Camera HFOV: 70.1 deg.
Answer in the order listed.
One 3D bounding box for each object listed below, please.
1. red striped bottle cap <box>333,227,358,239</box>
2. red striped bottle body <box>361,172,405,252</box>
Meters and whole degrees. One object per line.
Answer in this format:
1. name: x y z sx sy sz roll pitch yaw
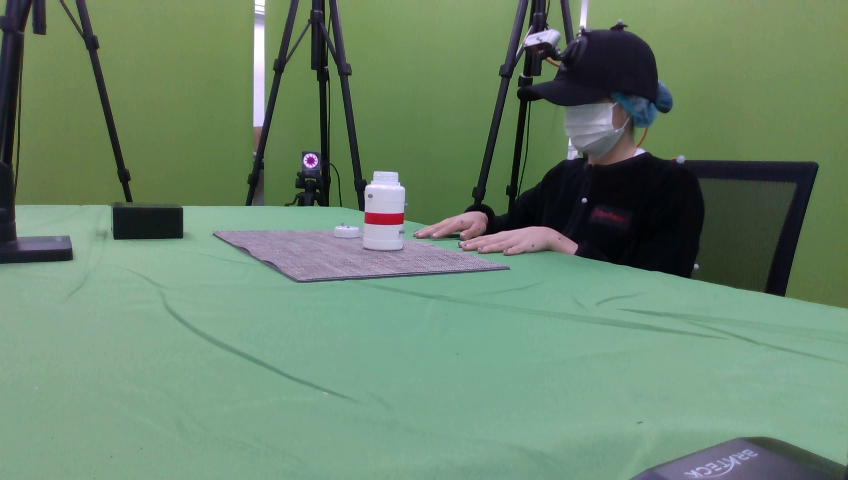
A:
1. red striped bottle cap: -0.139 -0.013 1.069 0.044 0.017 0.044 0 9 0
2. red striped bottle body: -0.062 -0.044 0.933 0.063 0.119 0.063 4 8 0
